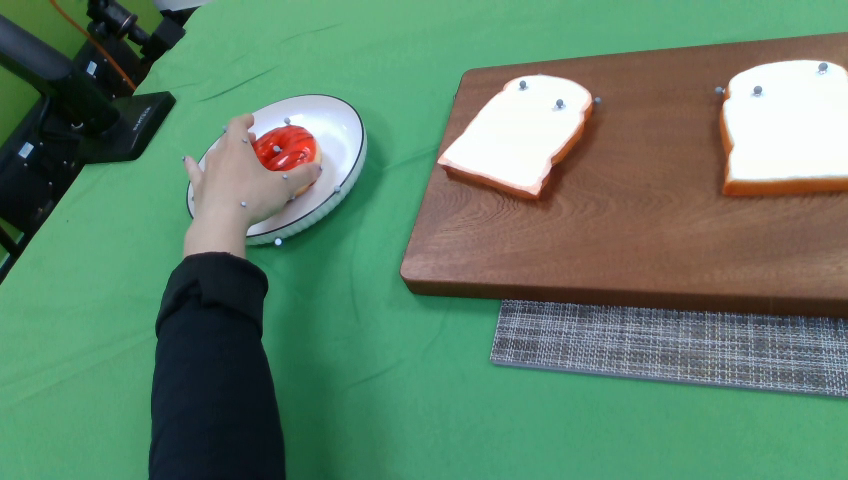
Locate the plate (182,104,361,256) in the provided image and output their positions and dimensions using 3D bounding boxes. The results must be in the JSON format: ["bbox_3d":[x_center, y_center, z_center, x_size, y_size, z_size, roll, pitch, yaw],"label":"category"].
[{"bbox_3d":[-0.161,-0.064,0.660,0.209,0.038,0.207,-11,50,14],"label":"plate"}]

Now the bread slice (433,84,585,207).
[{"bbox_3d":[0.083,-0.092,0.556,0.106,0.018,0.134,19,64,33],"label":"bread slice"}]

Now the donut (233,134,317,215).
[{"bbox_3d":[-0.161,-0.071,0.651,0.099,0.049,0.098,-14,50,18],"label":"donut"}]

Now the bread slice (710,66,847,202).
[{"bbox_3d":[0.278,-0.086,0.472,0.104,0.019,0.130,-2,54,19],"label":"bread slice"}]
